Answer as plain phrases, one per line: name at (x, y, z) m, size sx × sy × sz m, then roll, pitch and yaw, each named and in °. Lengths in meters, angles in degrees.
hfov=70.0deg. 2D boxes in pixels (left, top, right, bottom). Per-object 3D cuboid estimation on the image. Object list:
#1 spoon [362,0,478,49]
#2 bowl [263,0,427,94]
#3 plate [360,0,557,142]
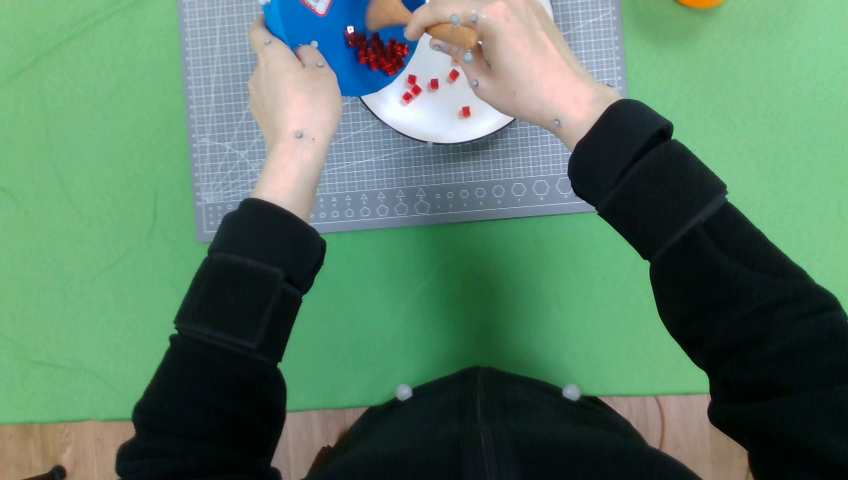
spoon at (-0.007, -0.162, 0.442) m, size 0.022 × 0.191 × 0.041 m, roll 20°, pitch 104°, yaw -37°
bowl at (-0.077, -0.203, 0.504) m, size 0.076 × 0.153 × 0.151 m, roll 25°, pitch 92°, yaw 41°
plate at (0.025, -0.199, 0.598) m, size 0.209 × 0.038 × 0.209 m, roll 0°, pitch 90°, yaw 3°
